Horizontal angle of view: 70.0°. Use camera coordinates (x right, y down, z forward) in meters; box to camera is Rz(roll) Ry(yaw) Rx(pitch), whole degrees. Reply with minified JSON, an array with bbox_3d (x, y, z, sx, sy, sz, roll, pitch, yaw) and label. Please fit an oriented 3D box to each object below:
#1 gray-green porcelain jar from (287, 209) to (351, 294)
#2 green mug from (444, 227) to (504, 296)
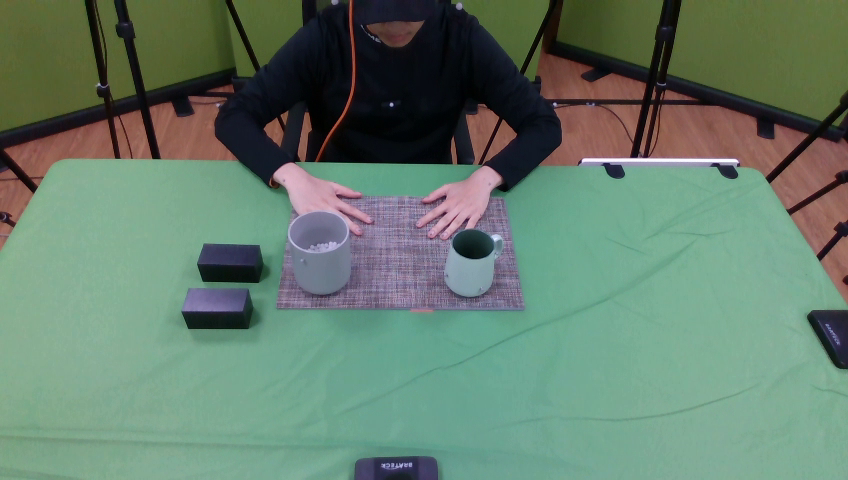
[{"bbox_3d":[-0.184,0.026,1.080,0.106,0.127,0.105,2,47,-2],"label":"gray-green porcelain jar"},{"bbox_3d":[0.097,0.033,1.110,0.125,0.105,0.092,-31,55,-29],"label":"green mug"}]
